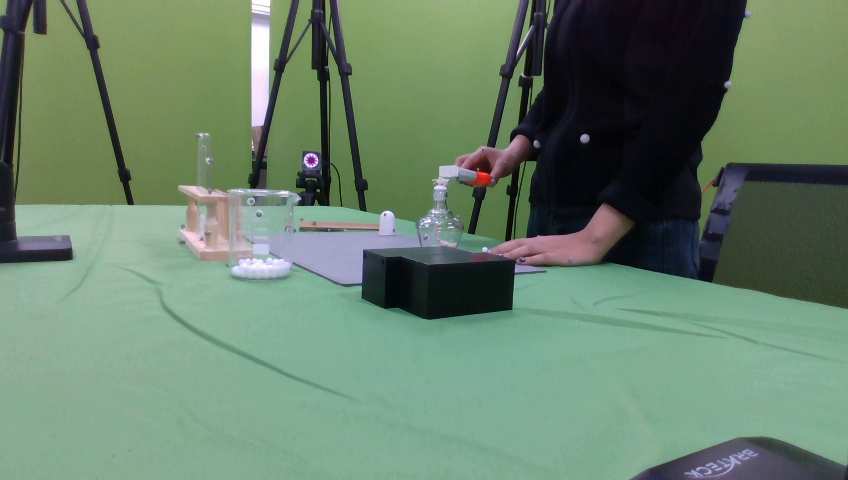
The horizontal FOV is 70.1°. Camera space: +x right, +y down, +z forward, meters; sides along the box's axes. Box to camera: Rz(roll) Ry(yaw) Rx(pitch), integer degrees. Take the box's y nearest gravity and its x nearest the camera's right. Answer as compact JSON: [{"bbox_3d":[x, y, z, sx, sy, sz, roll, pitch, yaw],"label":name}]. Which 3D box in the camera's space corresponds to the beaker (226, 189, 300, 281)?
[{"bbox_3d":[-0.184,-0.007,0.694,0.084,0.100,0.073,-1,8,-29],"label":"beaker"}]

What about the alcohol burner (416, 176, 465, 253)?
[{"bbox_3d":[0.025,-0.040,0.935,0.078,0.119,0.078,1,6,0],"label":"alcohol burner"}]

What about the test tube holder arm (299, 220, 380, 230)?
[{"bbox_3d":[-0.153,-0.028,1.174,0.179,0.015,0.013,1,-27,-21],"label":"test tube holder arm"}]

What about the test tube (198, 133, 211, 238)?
[{"bbox_3d":[-0.316,-0.078,0.871,0.017,0.150,0.017,2,3,0],"label":"test tube"}]

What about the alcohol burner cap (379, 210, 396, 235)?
[{"bbox_3d":[-0.067,-0.033,1.129,0.034,0.048,0.034,1,7,0],"label":"alcohol burner cap"}]

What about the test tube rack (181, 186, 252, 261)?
[{"bbox_3d":[-0.312,-0.031,0.893,0.067,0.085,0.241,-1,8,-27],"label":"test tube rack"}]

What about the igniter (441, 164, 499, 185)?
[{"bbox_3d":[0.086,-0.115,1.071,0.057,0.025,0.277,1,2,19],"label":"igniter"}]

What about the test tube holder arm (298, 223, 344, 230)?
[{"bbox_3d":[-0.197,-0.026,1.163,0.088,0.015,0.010,0,-27,-20],"label":"test tube holder arm"}]
